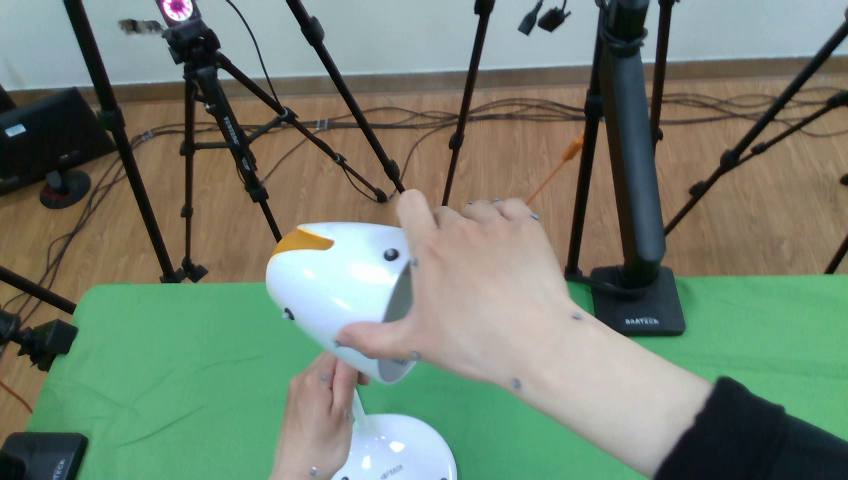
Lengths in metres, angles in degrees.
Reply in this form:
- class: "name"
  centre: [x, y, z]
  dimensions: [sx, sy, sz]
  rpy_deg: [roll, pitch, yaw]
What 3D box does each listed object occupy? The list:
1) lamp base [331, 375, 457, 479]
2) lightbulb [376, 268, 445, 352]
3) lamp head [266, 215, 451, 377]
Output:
- class: "lamp base"
  centre: [-0.053, 0.240, 0.712]
  dimensions: [0.160, 0.182, 0.177]
  rpy_deg: [-35, 57, -18]
- class: "lightbulb"
  centre: [-0.035, 0.040, 0.440]
  dimensions: [0.107, 0.060, 0.059]
  rpy_deg: [26, 62, 21]
- class: "lamp head"
  centre: [-0.054, 0.032, 0.456]
  dimensions: [0.122, 0.113, 0.112]
  rpy_deg: [16, 58, 25]
